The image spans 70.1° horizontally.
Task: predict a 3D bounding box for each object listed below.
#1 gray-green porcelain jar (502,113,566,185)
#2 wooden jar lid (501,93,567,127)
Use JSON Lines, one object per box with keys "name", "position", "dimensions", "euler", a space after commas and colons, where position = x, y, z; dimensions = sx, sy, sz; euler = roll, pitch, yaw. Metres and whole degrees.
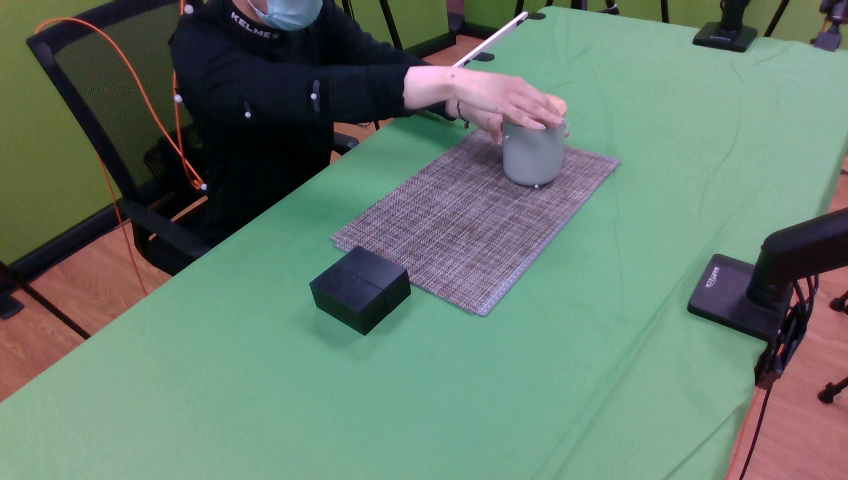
{"name": "gray-green porcelain jar", "position": [0.190, -0.168, 1.051], "dimensions": [0.106, 0.127, 0.105], "euler": [-4, 41, 4]}
{"name": "wooden jar lid", "position": [0.183, -0.214, 1.010], "dimensions": [0.108, 0.021, 0.108], "euler": [-5, 39, 4]}
